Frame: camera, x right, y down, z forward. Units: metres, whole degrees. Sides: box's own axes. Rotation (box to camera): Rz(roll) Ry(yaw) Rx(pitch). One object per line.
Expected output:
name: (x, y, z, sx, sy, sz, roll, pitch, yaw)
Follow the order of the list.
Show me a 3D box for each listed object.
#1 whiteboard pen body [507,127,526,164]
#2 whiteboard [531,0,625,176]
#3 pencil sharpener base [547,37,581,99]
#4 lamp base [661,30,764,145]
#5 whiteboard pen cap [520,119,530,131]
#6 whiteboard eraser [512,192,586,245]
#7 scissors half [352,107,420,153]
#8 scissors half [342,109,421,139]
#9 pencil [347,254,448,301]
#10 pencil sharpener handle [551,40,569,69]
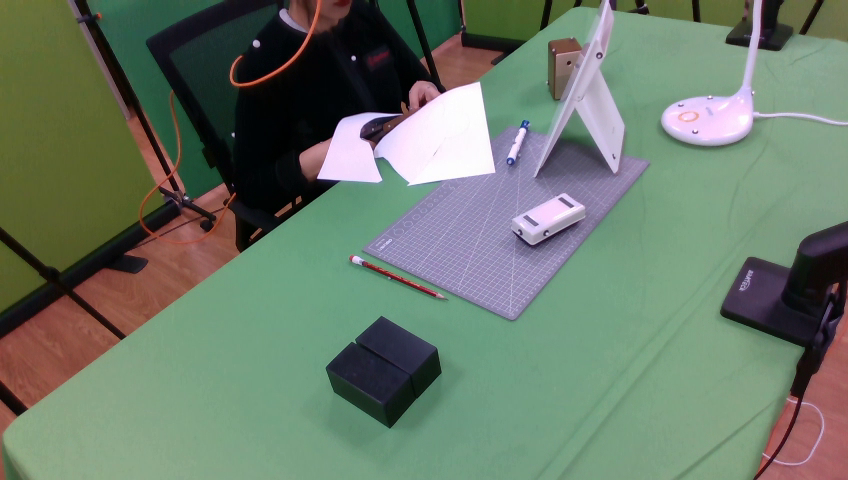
whiteboard pen body: (0.181, -0.189, 1.163, 0.017, 0.017, 0.140, 7, 42, 19)
whiteboard: (0.320, -0.258, 1.050, 0.144, 0.306, 0.217, 22, 45, 5)
pencil sharpener base: (0.299, -0.368, 1.290, 0.061, 0.107, 0.076, -8, 40, 2)
lamp base: (0.535, -0.287, 1.096, 0.179, 0.181, 0.159, -10, 40, -4)
whiteboard pen cap: (0.199, -0.226, 1.204, 0.018, 0.018, 0.033, 7, 41, 18)
whiteboard eraser: (0.199, -0.032, 0.962, 0.113, 0.042, 0.055, -27, 43, -20)
scissors half: (-0.078, -0.230, 1.256, 0.174, 0.040, 0.012, -31, 30, 24)
scissors half: (-0.089, -0.244, 1.244, 0.175, 0.040, 0.013, -12, 41, 11)
pencil: (-0.044, 0.058, 0.933, 0.192, 0.012, 0.012, 22, 49, 28)
pencil sharpener handle: (0.291, -0.409, 1.320, 0.036, 0.068, 0.030, 2, 40, -6)
